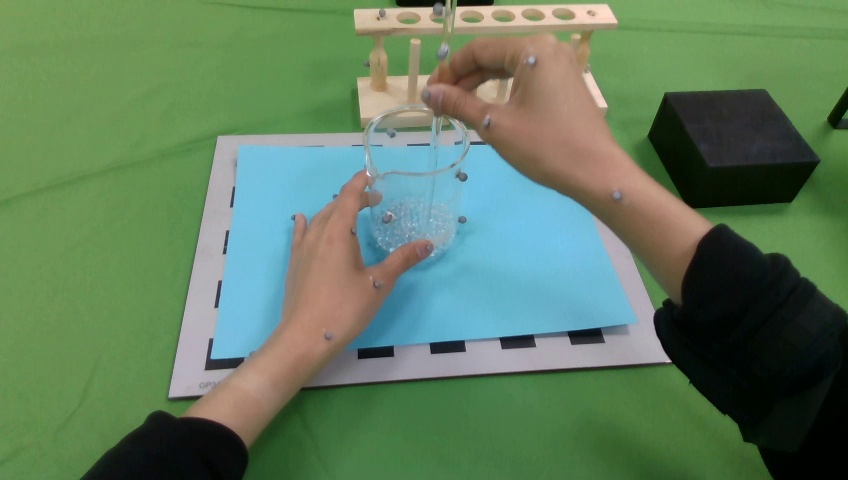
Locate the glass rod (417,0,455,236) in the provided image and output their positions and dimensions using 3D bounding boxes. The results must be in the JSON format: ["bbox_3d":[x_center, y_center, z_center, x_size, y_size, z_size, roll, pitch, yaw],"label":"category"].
[{"bbox_3d":[0.006,-0.074,0.390,0.008,0.201,0.008,4,45,-4],"label":"glass rod"}]

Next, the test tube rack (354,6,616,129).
[{"bbox_3d":[0.057,-0.165,0.580,0.243,0.086,0.066,-4,50,-7],"label":"test tube rack"}]

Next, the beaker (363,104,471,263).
[{"bbox_3d":[-0.009,-0.036,0.450,0.073,0.101,0.084,35,56,24],"label":"beaker"}]
